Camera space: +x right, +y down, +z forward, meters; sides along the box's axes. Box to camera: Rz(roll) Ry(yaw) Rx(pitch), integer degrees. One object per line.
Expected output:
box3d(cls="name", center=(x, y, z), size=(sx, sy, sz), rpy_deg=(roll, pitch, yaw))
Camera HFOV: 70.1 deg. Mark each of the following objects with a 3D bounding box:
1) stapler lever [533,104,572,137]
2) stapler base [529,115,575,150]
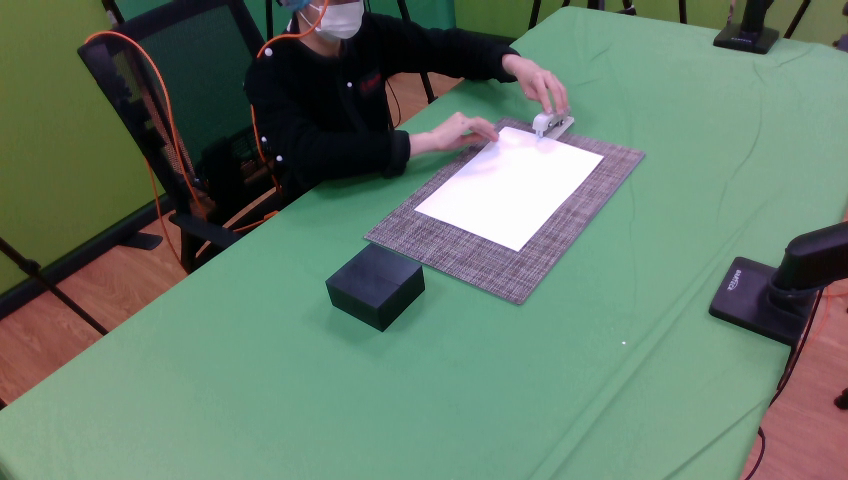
box3d(cls="stapler lever", center=(0.249, -0.240, 1.169), size=(0.026, 0.040, 0.118), rpy_deg=(23, 47, 29))
box3d(cls="stapler base", center=(0.251, -0.219, 1.184), size=(0.041, 0.024, 0.131), rpy_deg=(23, 47, 28))
